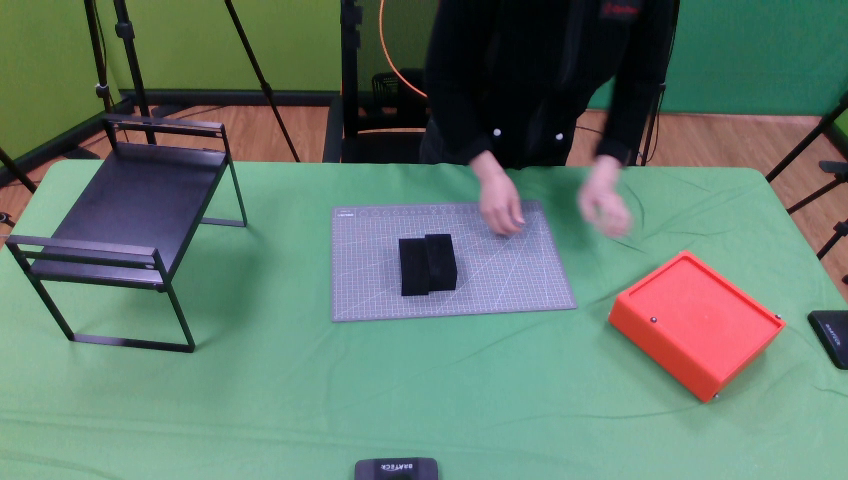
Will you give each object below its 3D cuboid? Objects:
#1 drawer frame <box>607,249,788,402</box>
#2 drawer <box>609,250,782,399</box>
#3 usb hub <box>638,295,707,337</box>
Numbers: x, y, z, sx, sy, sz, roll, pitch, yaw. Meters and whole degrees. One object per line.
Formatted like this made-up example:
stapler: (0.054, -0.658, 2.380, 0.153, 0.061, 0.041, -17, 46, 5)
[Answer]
drawer frame: (0.470, 0.139, 1.053, 0.202, 0.083, 0.212, -28, 55, -28)
drawer: (0.469, 0.140, 1.057, 0.194, 0.073, 0.210, -28, 56, -27)
usb hub: (0.440, 0.134, 1.073, 0.125, 0.025, 0.049, -15, 36, -29)
